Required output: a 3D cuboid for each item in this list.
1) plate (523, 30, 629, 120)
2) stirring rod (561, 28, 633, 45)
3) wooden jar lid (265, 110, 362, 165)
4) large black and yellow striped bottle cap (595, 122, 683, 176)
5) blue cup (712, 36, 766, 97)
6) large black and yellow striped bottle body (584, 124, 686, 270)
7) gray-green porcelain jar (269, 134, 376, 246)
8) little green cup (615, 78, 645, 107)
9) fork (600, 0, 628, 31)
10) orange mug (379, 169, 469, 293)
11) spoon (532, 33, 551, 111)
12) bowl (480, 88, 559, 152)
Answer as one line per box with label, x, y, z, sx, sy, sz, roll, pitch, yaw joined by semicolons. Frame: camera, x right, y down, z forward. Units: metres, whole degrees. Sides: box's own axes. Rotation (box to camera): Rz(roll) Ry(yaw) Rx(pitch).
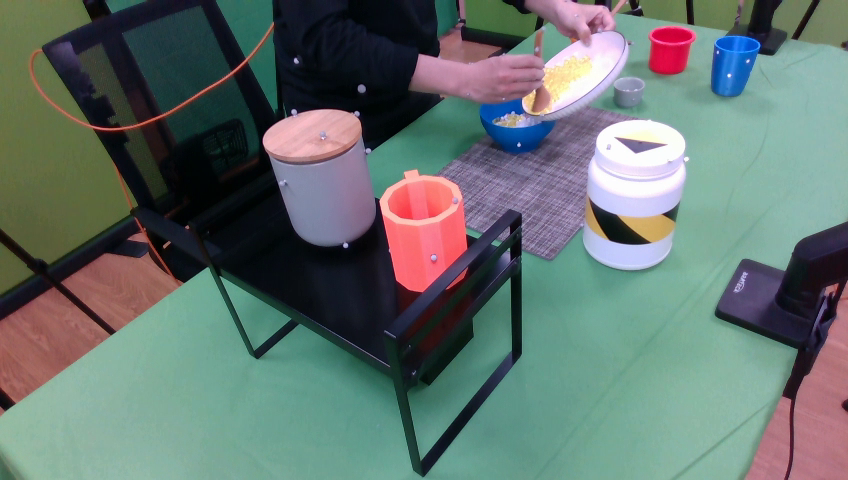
plate;0.276;-0.290;1.088;0.208;0.038;0.208;-33;31;23
stirring rod;0.382;-0.454;1.345;0.174;0.006;0.014;27;52;34
wooden jar lid;-0.122;-0.112;0.673;0.108;0.021;0.108;-4;37;4
large black and yellow striped bottle cap;0.293;-0.126;0.826;0.115;0.019;0.114;-3;40;3
blue cup;0.627;-0.350;1.227;0.092;0.100;0.092;-4;39;4
large black and yellow striped bottle body;0.304;-0.063;0.880;0.131;0.185;0.130;-5;41;5
gray-green porcelain jar;-0.115;-0.064;0.715;0.106;0.127;0.105;-4;40;4
little green cup;0.426;-0.306;1.257;0.061;0.039;0.061;-4;40;4
fork;0.413;-0.481;1.377;0.207;0.019;0.028;-56;43;12
orange mug;-0.002;-0.019;0.665;0.083;0.101;0.125;-12;45;-4
spoon;0.193;-0.277;1.015;0.041;0.195;0.021;-31;60;-2
bowl;0.184;-0.222;1.161;0.151;0.077;0.150;-3;40;3
